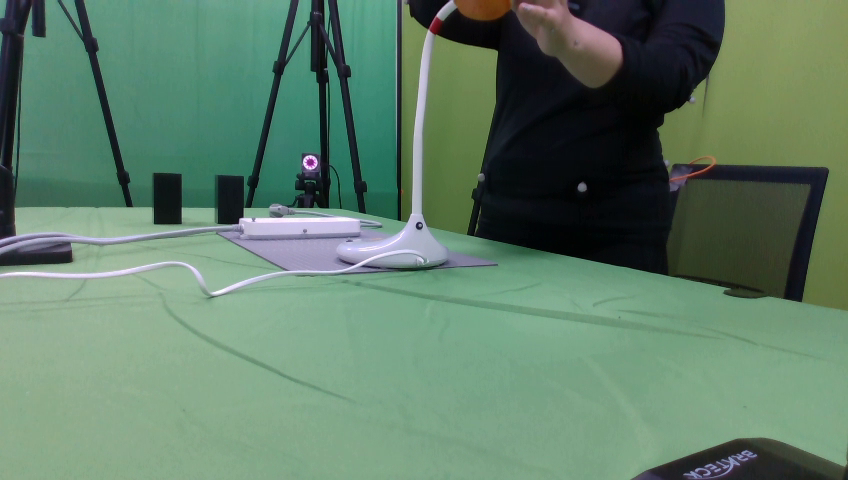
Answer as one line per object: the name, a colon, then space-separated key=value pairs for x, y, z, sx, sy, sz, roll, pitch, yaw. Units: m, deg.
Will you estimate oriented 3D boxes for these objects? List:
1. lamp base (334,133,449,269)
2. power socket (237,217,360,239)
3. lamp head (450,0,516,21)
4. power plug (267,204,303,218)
lamp base: x=-0.034 y=-0.057 z=0.831 sx=0.161 sy=0.180 sz=0.178 roll=-3 pitch=12 yaw=-36
power socket: x=-0.221 y=-0.023 z=1.080 sx=0.228 sy=0.032 sz=0.072 roll=-2 pitch=8 yaw=-33
lamp head: x=0.068 y=-0.318 z=0.700 sx=0.112 sy=0.122 sz=0.112 roll=7 pitch=-1 yaw=0
power plug: x=-0.327 y=-0.059 z=1.404 sx=0.073 sy=0.035 sz=0.052 roll=22 pitch=-14 yaw=-26
